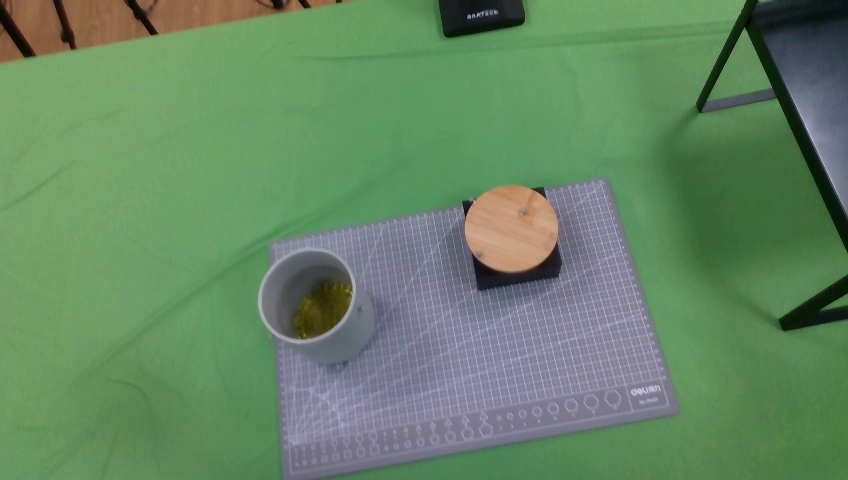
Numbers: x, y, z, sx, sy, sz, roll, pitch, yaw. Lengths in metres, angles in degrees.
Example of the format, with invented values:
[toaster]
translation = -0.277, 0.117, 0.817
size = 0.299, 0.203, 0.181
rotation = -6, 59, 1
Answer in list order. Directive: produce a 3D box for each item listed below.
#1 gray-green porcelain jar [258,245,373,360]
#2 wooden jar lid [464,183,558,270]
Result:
[gray-green porcelain jar]
translation = -0.117, 0.077, 0.690
size = 0.106, 0.127, 0.105
rotation = -2, 68, 6
[wooden jar lid]
translation = 0.100, -0.014, 0.705
size = 0.108, 0.021, 0.107
rotation = -2, 69, 6
